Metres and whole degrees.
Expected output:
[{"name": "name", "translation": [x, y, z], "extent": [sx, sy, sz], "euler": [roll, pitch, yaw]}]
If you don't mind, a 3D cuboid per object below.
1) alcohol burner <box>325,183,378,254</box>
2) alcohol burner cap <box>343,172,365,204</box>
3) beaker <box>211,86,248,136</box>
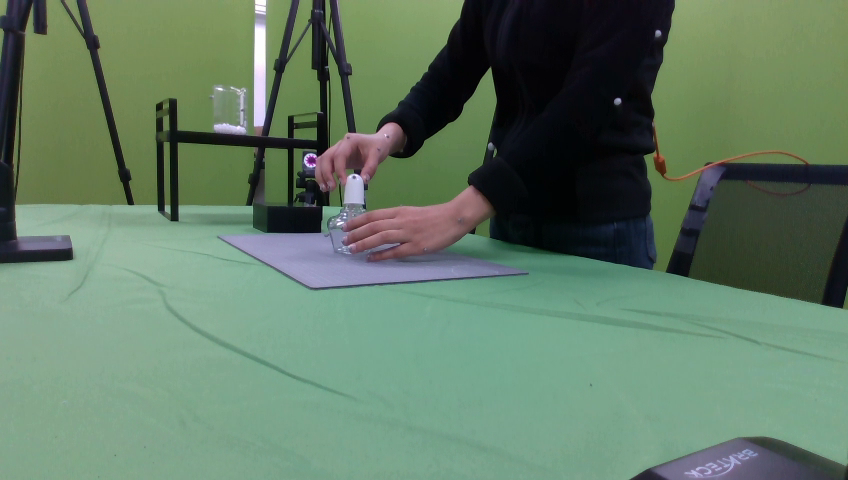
[{"name": "alcohol burner", "translation": [-0.107, -0.039, 0.895], "extent": [0.078, 0.119, 0.078], "euler": [2, 5, 0]}, {"name": "alcohol burner cap", "translation": [-0.101, -0.077, 0.893], "extent": [0.034, 0.048, 0.034], "euler": [5, 9, -1]}, {"name": "beaker", "translation": [-0.413, -0.274, 1.297], "extent": [0.074, 0.100, 0.083], "euler": [-5, 11, -44]}]
